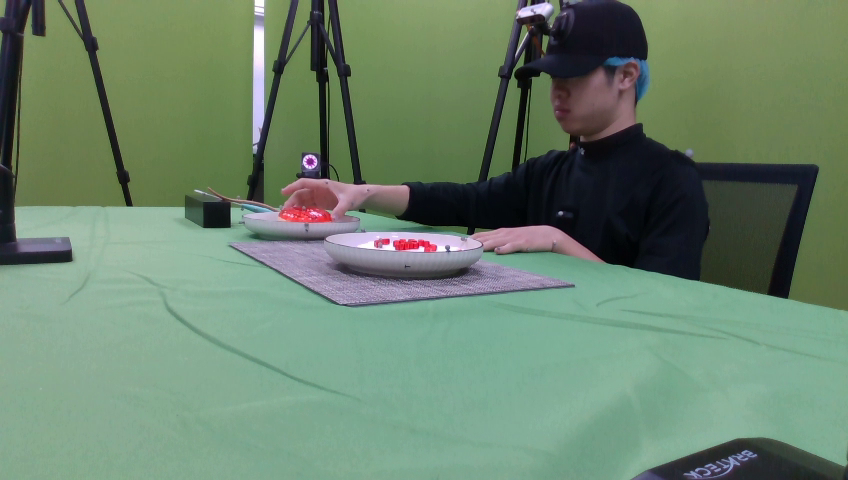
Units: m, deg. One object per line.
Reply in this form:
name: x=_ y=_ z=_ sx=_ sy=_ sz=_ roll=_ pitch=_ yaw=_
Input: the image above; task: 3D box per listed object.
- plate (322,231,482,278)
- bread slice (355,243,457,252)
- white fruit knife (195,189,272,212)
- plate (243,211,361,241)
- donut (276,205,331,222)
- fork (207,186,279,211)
plate: x=-0.028 y=0.018 z=0.789 sx=0.209 sy=0.038 sz=0.209 roll=3 pitch=7 yaw=0
bread slice: x=-0.027 y=0.020 z=0.793 sx=0.131 sy=0.019 sz=0.105 roll=6 pitch=7 yaw=18
white fruit knife: x=-0.378 y=-0.073 z=1.270 sx=0.208 sy=0.016 sz=0.027 roll=18 pitch=-4 yaw=-32
plate: x=-0.219 y=-0.025 z=1.092 sx=0.208 sy=0.039 sz=0.207 roll=2 pitch=7 yaw=0
donut: x=-0.217 y=-0.037 z=1.091 sx=0.099 sy=0.048 sz=0.099 roll=5 pitch=8 yaw=0
fork: x=-0.342 y=-0.070 z=1.244 sx=0.208 sy=0.018 sz=0.028 roll=18 pitch=-4 yaw=-24
